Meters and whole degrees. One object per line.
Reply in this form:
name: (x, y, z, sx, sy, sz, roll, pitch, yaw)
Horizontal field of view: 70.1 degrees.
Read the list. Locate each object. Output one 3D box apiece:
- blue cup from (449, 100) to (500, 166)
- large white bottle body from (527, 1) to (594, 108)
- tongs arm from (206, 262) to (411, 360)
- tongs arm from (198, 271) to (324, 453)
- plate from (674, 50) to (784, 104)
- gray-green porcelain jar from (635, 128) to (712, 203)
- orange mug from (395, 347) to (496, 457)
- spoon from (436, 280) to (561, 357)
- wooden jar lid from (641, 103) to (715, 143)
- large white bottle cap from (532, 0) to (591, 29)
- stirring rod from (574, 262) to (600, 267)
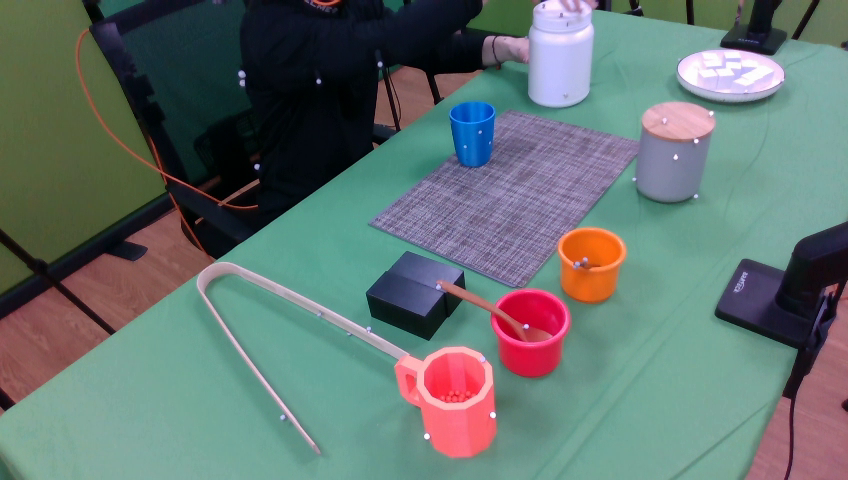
blue cup: (0.092, -0.194, 1.123, 0.092, 0.100, 0.092, -3, 40, 3)
large white bottle body: (0.282, -0.386, 1.258, 0.130, 0.185, 0.130, -3, 41, 3)
tongs arm: (-0.179, 0.106, 0.870, 0.381, 0.027, 0.051, 23, 54, 32)
tongs arm: (-0.236, 0.154, 0.831, 0.028, 0.028, 0.384, -37, 48, -18)
plate: (0.631, -0.336, 1.262, 0.207, 0.039, 0.206, -4, 41, 4)
gray-green porcelain jar: (0.405, -0.133, 0.992, 0.106, 0.127, 0.105, -4, 40, 4)
orange mug: (0.024, 0.180, 0.703, 0.125, 0.101, 0.083, 21, 48, 23)
spoon: (0.096, 0.095, 0.758, 0.195, 0.021, 0.041, 34, 40, -20)
wooden jar lid: (0.398, -0.180, 0.952, 0.108, 0.021, 0.108, -4, 43, 4)
large white bottle cap: (0.274, -0.450, 1.204, 0.115, 0.018, 0.114, -4, 41, 4)
stirring rod: (0.222, 0.033, 0.816, 0.014, 0.006, 0.177, 7, 1, 22)
